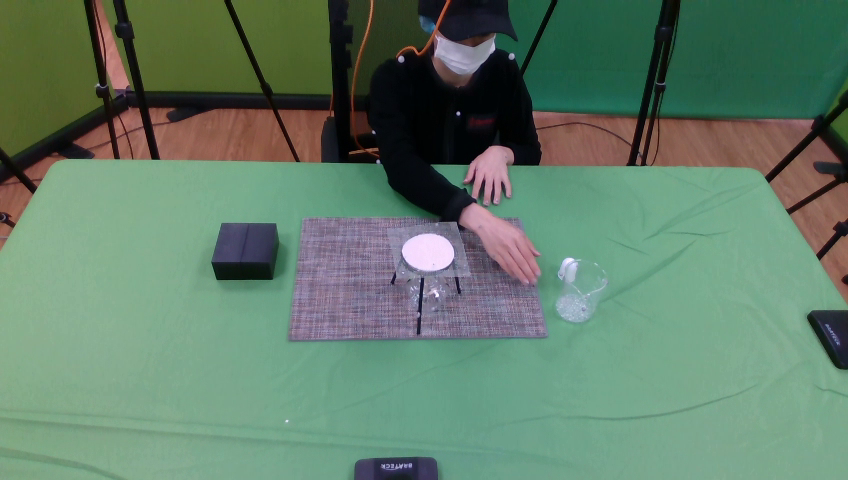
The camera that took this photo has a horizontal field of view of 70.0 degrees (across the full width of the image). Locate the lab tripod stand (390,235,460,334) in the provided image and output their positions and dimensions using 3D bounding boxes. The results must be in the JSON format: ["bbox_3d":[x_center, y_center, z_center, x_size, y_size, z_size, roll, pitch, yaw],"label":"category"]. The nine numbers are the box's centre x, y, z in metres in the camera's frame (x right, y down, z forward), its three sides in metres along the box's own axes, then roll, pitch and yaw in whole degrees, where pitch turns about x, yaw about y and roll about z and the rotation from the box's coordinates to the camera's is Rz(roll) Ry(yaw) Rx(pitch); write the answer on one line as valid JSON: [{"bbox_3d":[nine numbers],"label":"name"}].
[{"bbox_3d":[-0.002,0.067,1.050,0.148,0.132,0.147,1,47,-1],"label":"lab tripod stand"}]

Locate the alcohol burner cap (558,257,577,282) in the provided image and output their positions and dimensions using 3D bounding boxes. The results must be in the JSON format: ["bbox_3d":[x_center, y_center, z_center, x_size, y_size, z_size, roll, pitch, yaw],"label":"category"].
[{"bbox_3d":[0.276,0.053,1.154,0.034,0.048,0.033,1,46,-1],"label":"alcohol burner cap"}]

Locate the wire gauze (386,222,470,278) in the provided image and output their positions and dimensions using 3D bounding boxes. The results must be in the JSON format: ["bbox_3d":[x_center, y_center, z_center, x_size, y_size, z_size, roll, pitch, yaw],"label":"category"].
[{"bbox_3d":[0.005,0.016,1.005,0.125,0.011,0.120,-5,46,-8],"label":"wire gauze"}]

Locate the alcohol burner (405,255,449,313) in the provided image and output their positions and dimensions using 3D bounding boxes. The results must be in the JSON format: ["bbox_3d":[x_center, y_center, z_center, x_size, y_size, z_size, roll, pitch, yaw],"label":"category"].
[{"bbox_3d":[0.006,0.071,1.060,0.078,0.120,0.077,1,45,-1],"label":"alcohol burner"}]

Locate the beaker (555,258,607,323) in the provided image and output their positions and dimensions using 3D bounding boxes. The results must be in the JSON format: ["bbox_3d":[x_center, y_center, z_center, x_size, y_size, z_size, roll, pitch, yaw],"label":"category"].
[{"bbox_3d":[0.275,0.094,1.073,0.074,0.101,0.083,10,47,6],"label":"beaker"}]
